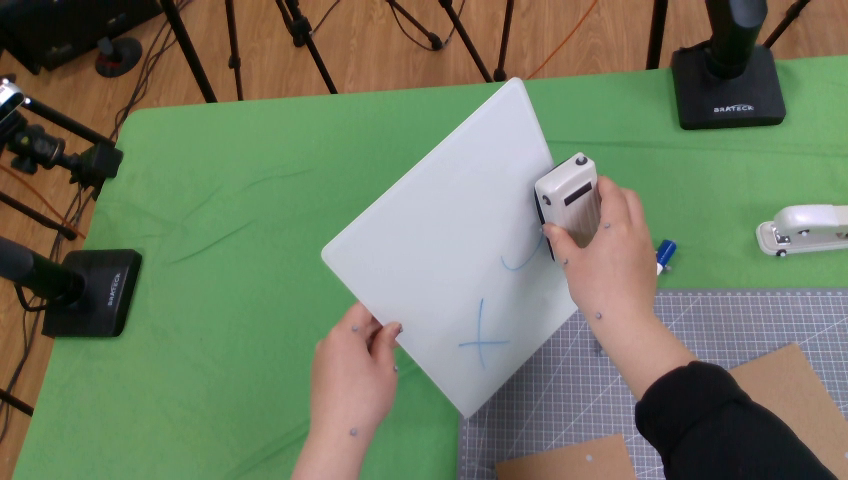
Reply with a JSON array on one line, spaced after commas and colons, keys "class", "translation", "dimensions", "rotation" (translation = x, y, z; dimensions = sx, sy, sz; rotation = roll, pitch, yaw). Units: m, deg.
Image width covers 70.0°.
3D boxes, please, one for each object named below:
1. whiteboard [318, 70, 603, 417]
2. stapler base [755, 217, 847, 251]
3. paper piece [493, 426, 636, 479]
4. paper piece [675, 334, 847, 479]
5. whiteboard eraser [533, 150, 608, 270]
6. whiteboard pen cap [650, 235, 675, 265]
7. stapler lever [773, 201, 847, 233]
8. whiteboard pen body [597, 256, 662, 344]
[{"class": "whiteboard", "translation": [0.026, -0.002, 0.618], "dimensions": [0.217, 0.309, 0.142], "rotation": [-42, 44, -8]}, {"class": "stapler base", "translation": [0.437, -0.016, 0.663], "dimensions": [0.130, 0.024, 0.041], "rotation": [-6, 67, 7]}, {"class": "paper piece", "translation": [0.149, 0.267, 0.599], "dimensions": [0.135, 0.004, 0.134], "rotation": [-15, 64, 5]}, {"class": "paper piece", "translation": [0.343, 0.181, 0.598], "dimensions": [0.136, 0.009, 0.137], "rotation": [-23, 66, 5]}, {"class": "whiteboard eraser", "translation": [0.138, -0.027, 0.572], "dimensions": [0.055, 0.114, 0.041], "rotation": [-32, 42, -8]}, {"class": "whiteboard pen cap", "translation": [0.269, 0.011, 0.685], "dimensions": [0.018, 0.018, 0.033], "rotation": [29, 74, 22]}, {"class": "stapler lever", "translation": [0.434, -0.026, 0.642], "dimensions": [0.118, 0.040, 0.026], "rotation": [-7, 67, 8]}, {"class": "whiteboard pen body", "translation": [0.234, 0.056, 0.673], "dimensions": [0.017, 0.017, 0.140], "rotation": [32, 74, 23]}]
